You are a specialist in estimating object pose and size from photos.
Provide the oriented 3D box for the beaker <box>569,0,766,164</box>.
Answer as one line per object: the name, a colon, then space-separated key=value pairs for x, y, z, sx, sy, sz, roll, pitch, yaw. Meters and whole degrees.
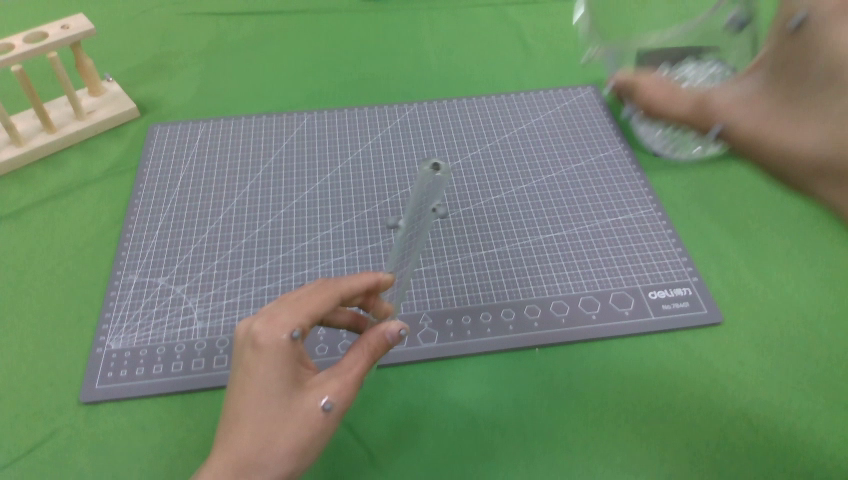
beaker: x=0.123 y=-0.089 z=0.302 sx=0.084 sy=0.101 sz=0.073 roll=-43 pitch=47 yaw=8

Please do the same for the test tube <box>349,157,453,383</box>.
test tube: x=-0.016 y=0.023 z=0.329 sx=0.017 sy=0.151 sz=0.017 roll=16 pitch=31 yaw=-9

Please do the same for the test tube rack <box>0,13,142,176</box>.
test tube rack: x=-0.396 y=-0.111 z=0.541 sx=0.242 sy=0.086 sz=0.066 roll=-32 pitch=56 yaw=-24
